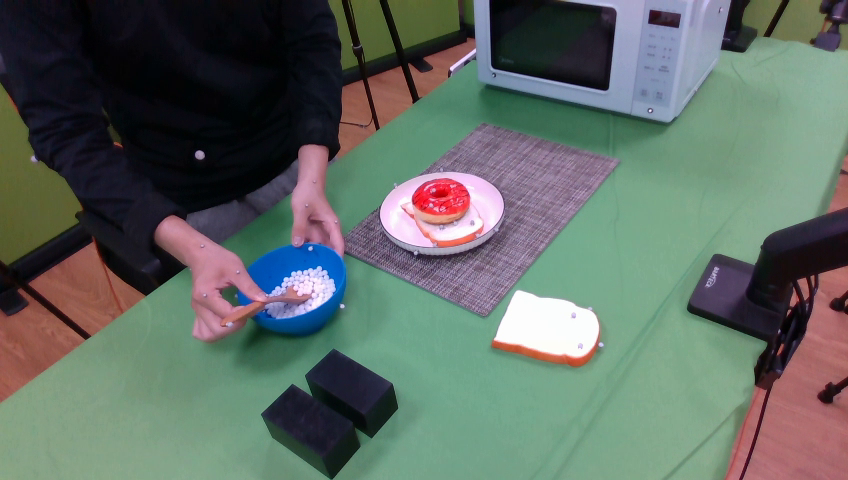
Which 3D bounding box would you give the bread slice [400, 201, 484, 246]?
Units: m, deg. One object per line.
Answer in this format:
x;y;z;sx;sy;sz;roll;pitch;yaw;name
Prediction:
0.037;-0.038;0.990;0.107;0.018;0.133;-23;43;-17;bread slice

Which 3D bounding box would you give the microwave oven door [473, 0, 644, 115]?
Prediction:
0.257;-0.396;1.199;0.353;0.245;0.039;21;48;29;microwave oven door

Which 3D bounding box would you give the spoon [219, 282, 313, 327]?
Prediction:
-0.205;0.082;0.792;0.041;0.021;0.194;15;10;18;spoon

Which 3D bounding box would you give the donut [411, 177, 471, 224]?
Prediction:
0.028;-0.064;0.978;0.099;0.048;0.098;-4;40;4;donut

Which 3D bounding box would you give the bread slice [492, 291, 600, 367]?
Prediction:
0.169;0.118;0.811;0.131;0.019;0.105;11;44;21;bread slice

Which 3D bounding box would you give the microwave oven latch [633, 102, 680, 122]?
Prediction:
0.444;-0.249;1.157;0.078;0.029;0.030;21;49;30;microwave oven latch

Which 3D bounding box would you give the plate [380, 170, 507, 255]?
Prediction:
0.033;-0.042;0.995;0.207;0.039;0.206;-4;40;4;plate

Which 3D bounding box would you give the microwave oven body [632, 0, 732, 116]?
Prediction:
0.377;-0.462;1.267;0.438;0.261;0.327;21;48;30;microwave oven body

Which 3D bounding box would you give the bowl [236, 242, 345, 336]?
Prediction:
-0.179;0.082;0.855;0.151;0.077;0.150;-4;42;4;bowl
